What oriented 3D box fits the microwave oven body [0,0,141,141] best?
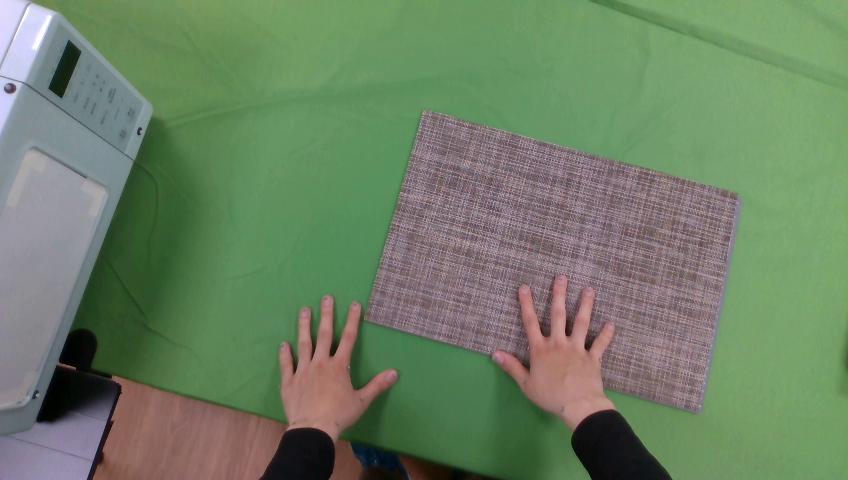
[{"bbox_3d":[-0.569,-0.049,0.658,0.326,0.260,0.440,16,82,0],"label":"microwave oven body"}]

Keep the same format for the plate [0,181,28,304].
[{"bbox_3d":[-0.567,0.007,0.708,0.209,0.038,0.208,1,83,-4],"label":"plate"}]

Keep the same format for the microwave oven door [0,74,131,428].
[{"bbox_3d":[-0.440,0.030,0.647,0.039,0.244,0.354,15,81,1],"label":"microwave oven door"}]

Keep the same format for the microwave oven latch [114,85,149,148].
[{"bbox_3d":[-0.382,-0.161,0.780,0.030,0.029,0.079,18,82,0],"label":"microwave oven latch"}]
